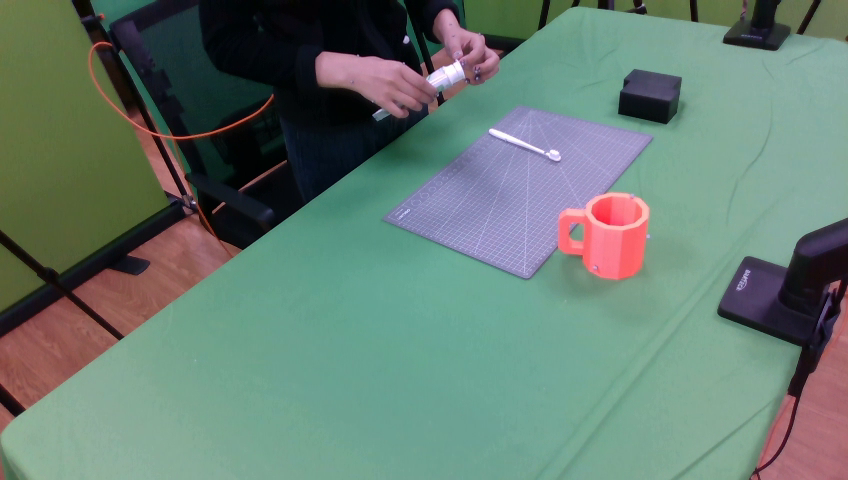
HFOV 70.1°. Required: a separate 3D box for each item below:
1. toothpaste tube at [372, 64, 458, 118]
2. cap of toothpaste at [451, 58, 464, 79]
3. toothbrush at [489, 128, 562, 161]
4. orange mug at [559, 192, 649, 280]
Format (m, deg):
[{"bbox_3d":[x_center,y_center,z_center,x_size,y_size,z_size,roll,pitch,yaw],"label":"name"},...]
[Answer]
[{"bbox_3d":[-0.014,-0.252,1.030,0.165,0.034,0.055,-28,-2,3],"label":"toothpaste tube"},{"bbox_3d":[0.057,-0.290,1.024,0.011,0.037,0.037,-26,42,-2],"label":"cap of toothpaste"},{"bbox_3d":[0.191,-0.188,1.167,0.014,0.017,0.180,-44,48,-17],"label":"toothbrush"},{"bbox_3d":[0.261,-0.008,0.884,0.126,0.101,0.083,9,43,14],"label":"orange mug"}]
